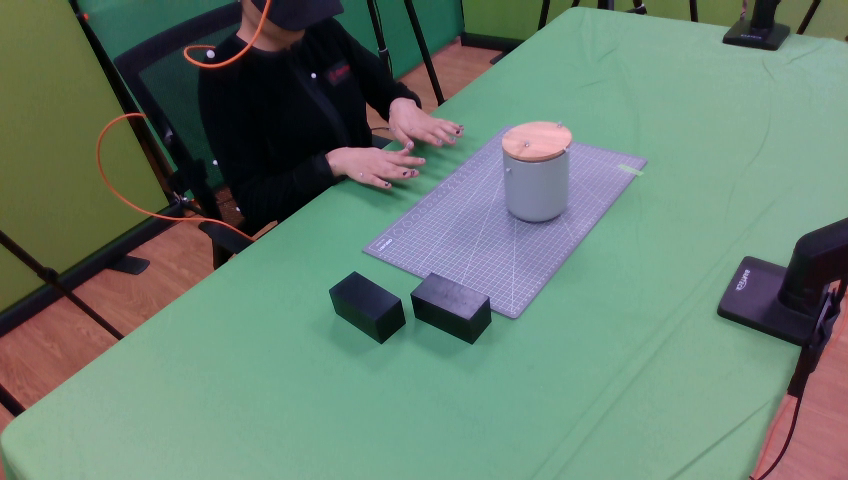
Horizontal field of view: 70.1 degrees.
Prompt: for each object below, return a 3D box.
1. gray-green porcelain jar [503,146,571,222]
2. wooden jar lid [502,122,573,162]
[{"bbox_3d":[0.184,-0.102,0.983,0.106,0.127,0.105,-5,40,5],"label":"gray-green porcelain jar"},{"bbox_3d":[0.176,-0.150,0.940,0.108,0.021,0.108,-6,39,5],"label":"wooden jar lid"}]
